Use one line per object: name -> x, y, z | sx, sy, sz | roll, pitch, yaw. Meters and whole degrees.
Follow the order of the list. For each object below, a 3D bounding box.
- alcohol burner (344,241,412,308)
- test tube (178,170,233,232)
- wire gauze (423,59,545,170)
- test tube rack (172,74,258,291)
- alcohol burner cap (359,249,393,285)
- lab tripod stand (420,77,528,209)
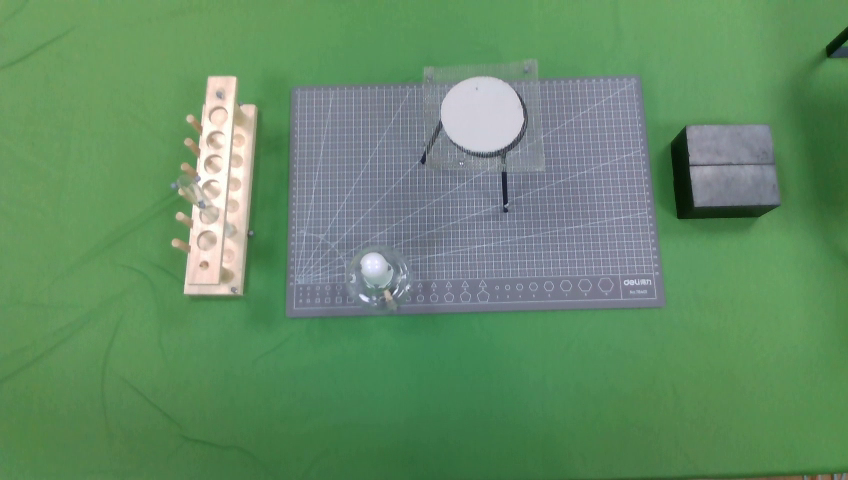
alcohol burner -> -0.052, 0.035, 0.672 | 0.078, 0.119, 0.077 | 0, 76, -1
test tube -> -0.234, -0.038, 0.658 | 0.017, 0.151, 0.017 | 1, 72, -1
wire gauze -> 0.061, -0.130, 0.630 | 0.125, 0.011, 0.121 | -1, 77, 1
test tube rack -> -0.250, -0.066, 0.715 | 0.067, 0.085, 0.241 | 1, 77, 1
alcohol burner cap -> -0.052, 0.027, 0.637 | 0.034, 0.048, 0.033 | -2, 73, 6
lab tripod stand -> 0.066, -0.119, 0.696 | 0.148, 0.132, 0.147 | 0, 75, 2
